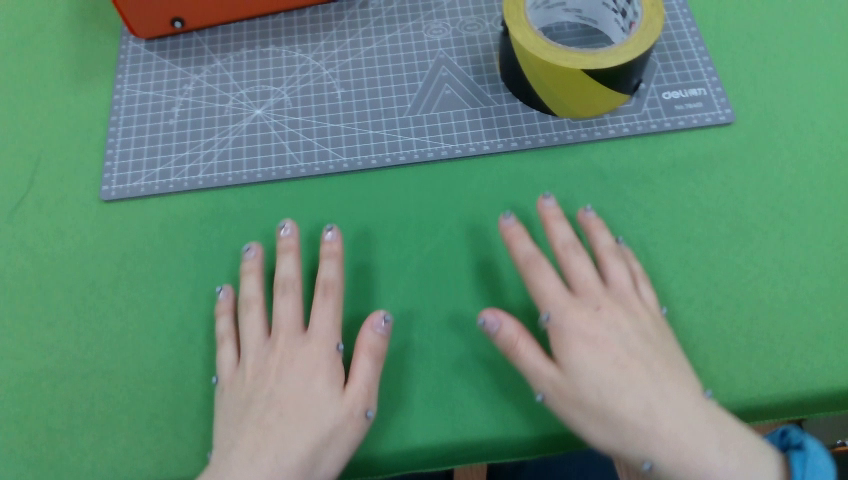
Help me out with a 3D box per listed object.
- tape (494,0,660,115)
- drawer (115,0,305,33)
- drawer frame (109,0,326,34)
[{"bbox_3d":[0.108,-0.150,0.437,0.117,0.053,0.116,-1,65,2],"label":"tape"},{"bbox_3d":[-0.156,-0.283,0.489,0.195,0.074,0.210,-14,65,-5],"label":"drawer"},{"bbox_3d":[-0.158,-0.285,0.490,0.202,0.083,0.211,-15,64,-5],"label":"drawer frame"}]
